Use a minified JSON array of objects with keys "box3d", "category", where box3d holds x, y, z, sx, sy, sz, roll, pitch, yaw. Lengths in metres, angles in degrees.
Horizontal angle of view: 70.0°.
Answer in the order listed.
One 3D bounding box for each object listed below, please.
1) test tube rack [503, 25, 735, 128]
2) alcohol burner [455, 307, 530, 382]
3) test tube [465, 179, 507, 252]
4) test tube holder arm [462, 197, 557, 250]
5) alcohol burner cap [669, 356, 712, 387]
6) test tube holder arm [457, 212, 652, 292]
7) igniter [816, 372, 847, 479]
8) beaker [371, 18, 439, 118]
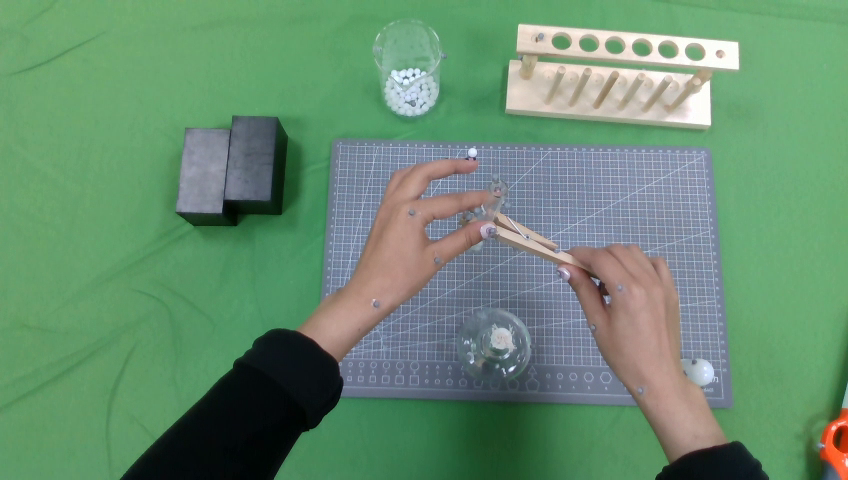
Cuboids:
[{"box3d":[0.219,-0.187,0.701,0.242,0.085,0.066,5,76,1],"category":"test tube rack"},{"box3d":[0.071,0.103,0.611,0.078,0.119,0.077,1,75,-1],"category":"alcohol burner"},{"box3d":[0.052,-0.017,0.532,0.017,0.151,0.017,1,72,-3],"category":"test tube"},{"box3d":[0.075,-0.012,0.529,0.088,0.015,0.010,29,71,0],"category":"test tube holder arm"},{"box3d":[0.283,0.138,0.640,0.034,0.048,0.033,0,75,0],"category":"alcohol burner cap"},{"box3d":[0.114,0.011,0.529,0.178,0.015,0.013,21,71,-2],"category":"test tube holder arm"},{"box3d":[0.450,0.189,0.637,0.057,0.025,0.275,24,77,-4],"category":"igniter"},{"box3d":[-0.020,-0.189,0.695,0.074,0.100,0.083,4,76,1],"category":"beaker"}]
